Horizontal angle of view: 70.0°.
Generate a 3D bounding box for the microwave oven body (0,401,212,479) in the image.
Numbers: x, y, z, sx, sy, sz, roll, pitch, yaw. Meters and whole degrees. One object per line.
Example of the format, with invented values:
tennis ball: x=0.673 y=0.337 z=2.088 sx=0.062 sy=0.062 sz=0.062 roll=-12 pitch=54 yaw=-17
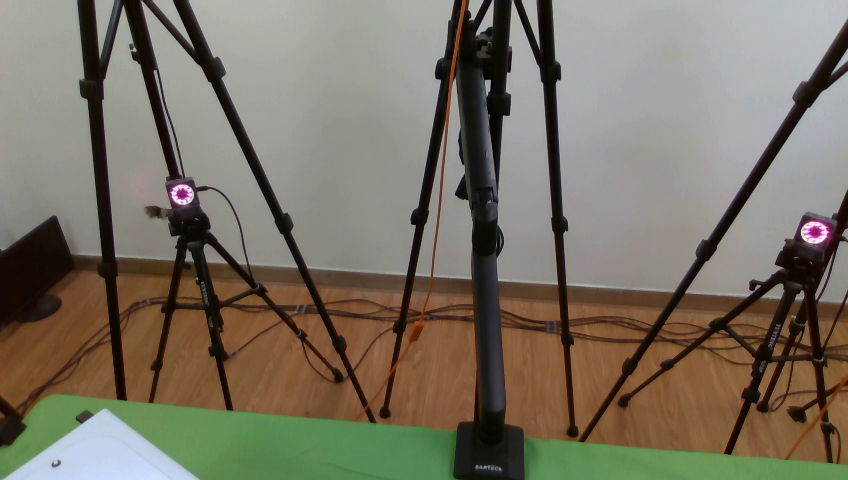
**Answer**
microwave oven body: x=-0.446 y=0.464 z=0.695 sx=0.323 sy=0.262 sz=0.441 roll=21 pitch=41 yaw=27
